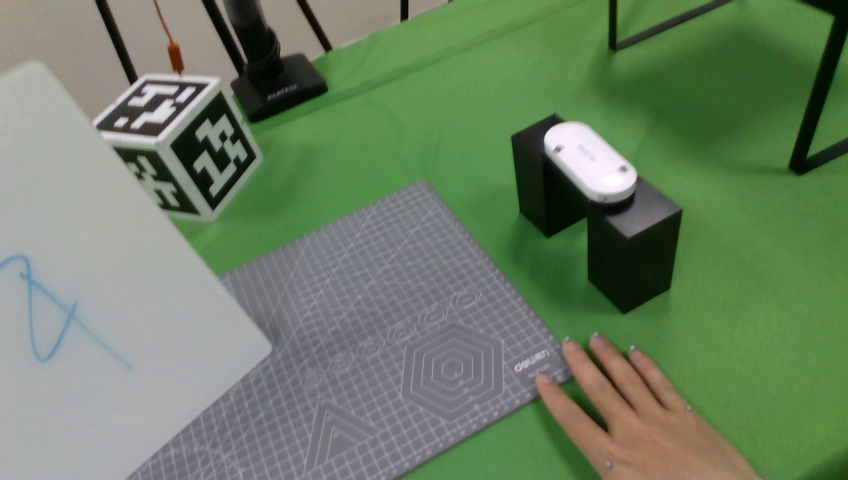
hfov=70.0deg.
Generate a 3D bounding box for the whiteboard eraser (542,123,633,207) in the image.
[{"bbox_3d":[0.134,-0.065,0.503,0.041,0.019,0.100,-24,48,-8],"label":"whiteboard eraser"}]

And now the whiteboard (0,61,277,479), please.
[{"bbox_3d":[-0.314,0.047,0.501,0.217,0.308,0.142,-43,32,-22],"label":"whiteboard"}]
